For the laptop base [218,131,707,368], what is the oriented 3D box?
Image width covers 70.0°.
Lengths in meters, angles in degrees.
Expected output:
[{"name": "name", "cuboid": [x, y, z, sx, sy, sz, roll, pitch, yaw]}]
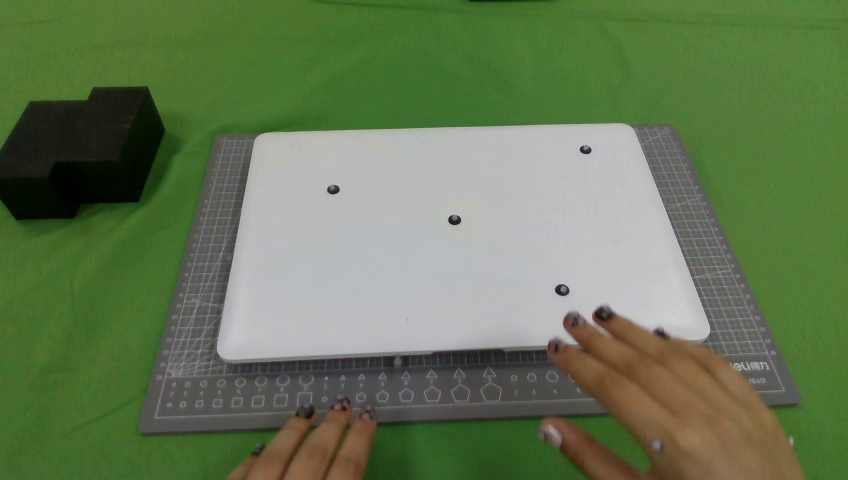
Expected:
[{"name": "laptop base", "cuboid": [0.025, -0.004, 0.505, 0.355, 0.023, 0.233, -2, 53, -3]}]

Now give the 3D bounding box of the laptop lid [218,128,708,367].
[{"name": "laptop lid", "cuboid": [0.026, -0.010, 0.494, 0.357, 0.013, 0.239, -1, 52, -1]}]
